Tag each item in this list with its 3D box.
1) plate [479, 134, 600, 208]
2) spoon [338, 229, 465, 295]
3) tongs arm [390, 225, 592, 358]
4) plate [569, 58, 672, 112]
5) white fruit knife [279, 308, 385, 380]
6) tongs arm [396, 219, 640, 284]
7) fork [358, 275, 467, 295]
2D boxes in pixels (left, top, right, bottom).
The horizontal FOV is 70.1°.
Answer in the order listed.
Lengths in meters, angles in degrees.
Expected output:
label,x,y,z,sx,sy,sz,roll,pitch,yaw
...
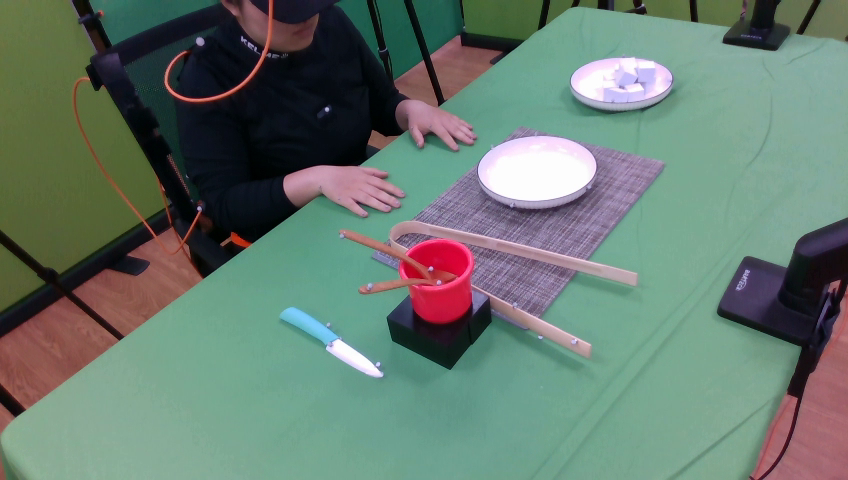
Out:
label,x,y,z,sx,sy,sz,roll,pitch,yaw
plate,0.202,-0.117,1.065,0.207,0.039,0.206,-5,40,5
spoon,-0.025,0.026,0.776,0.021,0.195,0.041,-41,34,32
tongs arm,0.082,0.063,0.879,0.381,0.026,0.051,25,52,34
plate,0.411,-0.323,1.274,0.209,0.038,0.208,-5,41,5
white fruit knife,-0.130,0.143,0.845,0.205,0.016,0.027,25,79,32
tongs arm,0.131,0.015,0.926,0.385,0.028,0.028,13,50,25
fork,-0.009,0.056,0.739,0.028,0.018,0.209,48,23,26
